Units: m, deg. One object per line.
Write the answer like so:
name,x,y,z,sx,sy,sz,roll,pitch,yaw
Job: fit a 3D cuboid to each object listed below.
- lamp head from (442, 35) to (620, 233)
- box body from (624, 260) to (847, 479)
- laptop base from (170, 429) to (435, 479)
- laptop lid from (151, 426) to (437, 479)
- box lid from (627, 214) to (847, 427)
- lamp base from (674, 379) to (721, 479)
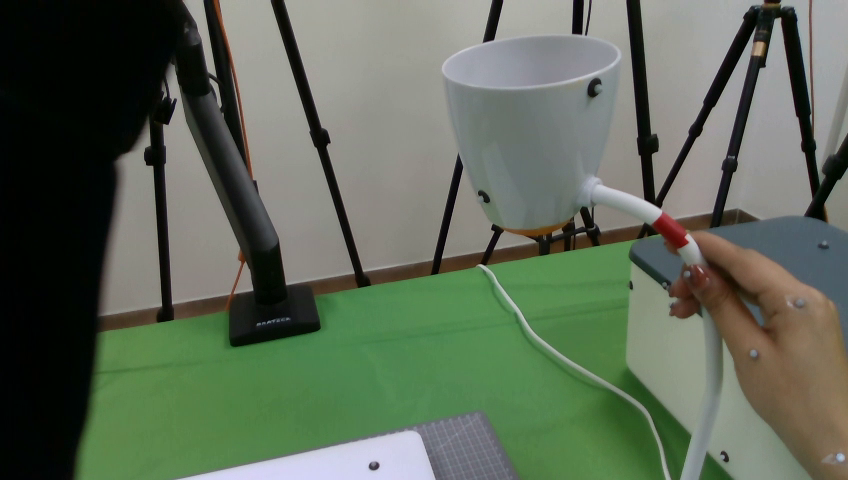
lamp head,0.076,-0.066,0.407,0.112,0.124,0.111,-10,28,6
box body,0.395,0.130,0.591,0.255,0.161,0.360,-9,27,-14
laptop base,-0.148,0.276,0.495,0.355,0.023,0.233,-8,30,-13
laptop lid,-0.147,0.266,0.487,0.357,0.013,0.239,-8,29,-11
box lid,0.392,0.062,0.559,0.264,0.015,0.367,-8,27,-15
lamp base,0.182,0.201,0.438,0.160,0.181,0.179,10,26,21
